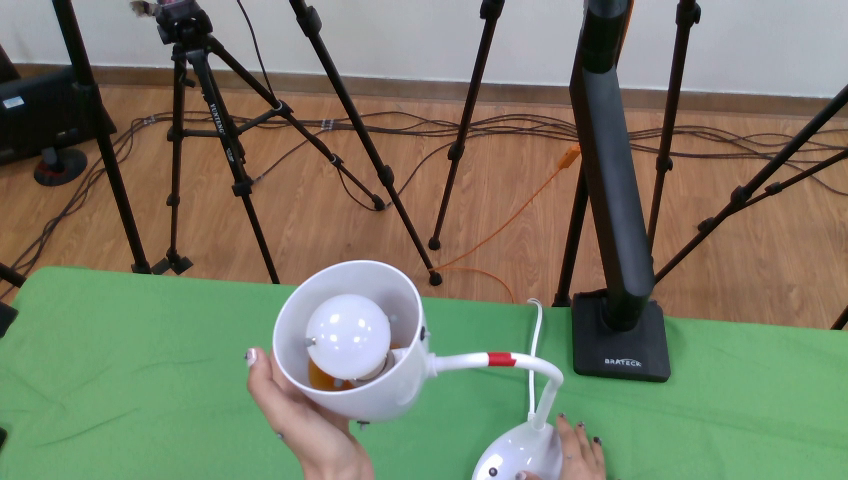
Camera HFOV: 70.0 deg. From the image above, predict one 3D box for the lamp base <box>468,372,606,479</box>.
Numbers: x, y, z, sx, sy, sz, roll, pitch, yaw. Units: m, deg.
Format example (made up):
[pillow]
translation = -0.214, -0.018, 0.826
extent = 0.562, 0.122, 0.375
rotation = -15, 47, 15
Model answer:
[lamp base]
translation = 0.125, 0.230, 0.638
extent = 0.161, 0.182, 0.177
rotation = -7, 51, -2

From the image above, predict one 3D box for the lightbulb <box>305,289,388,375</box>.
[lightbulb]
translation = -0.052, 0.078, 0.456
extent = 0.059, 0.109, 0.059
rotation = -5, 58, 8

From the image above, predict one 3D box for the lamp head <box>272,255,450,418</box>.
[lamp head]
translation = -0.041, 0.088, 0.477
extent = 0.112, 0.124, 0.111
rotation = -10, 52, 13
